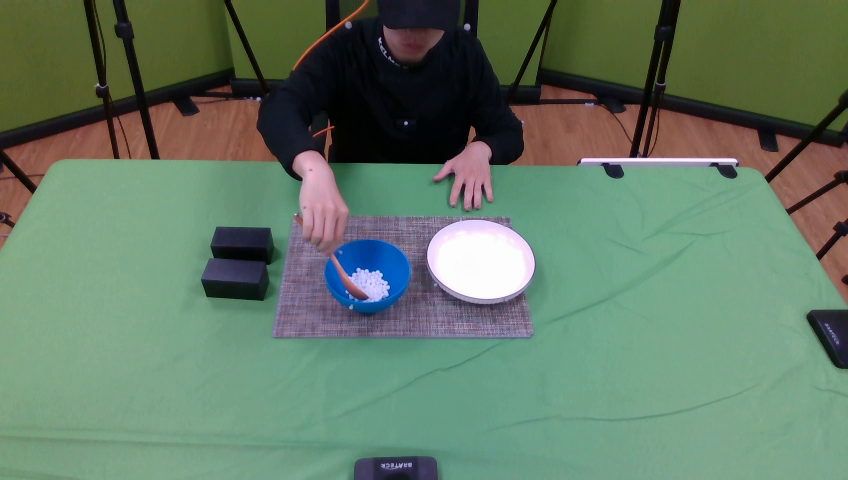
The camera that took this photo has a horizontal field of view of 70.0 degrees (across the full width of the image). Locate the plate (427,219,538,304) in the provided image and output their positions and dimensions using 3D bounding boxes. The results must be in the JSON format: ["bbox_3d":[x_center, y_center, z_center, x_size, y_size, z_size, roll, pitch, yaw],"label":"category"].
[{"bbox_3d":[0.109,0.044,1.149,0.208,0.039,0.206,2,46,-2],"label":"plate"}]

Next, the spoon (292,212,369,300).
[{"bbox_3d":[-0.159,0.029,1.028,0.021,0.041,0.194,-39,100,-25],"label":"spoon"}]

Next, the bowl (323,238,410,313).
[{"bbox_3d":[-0.101,0.077,1.073,0.151,0.077,0.150,2,46,-2],"label":"bowl"}]
